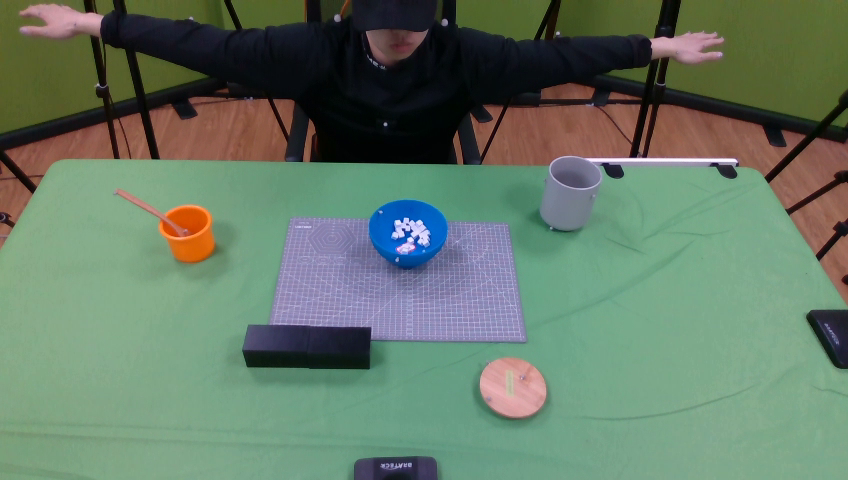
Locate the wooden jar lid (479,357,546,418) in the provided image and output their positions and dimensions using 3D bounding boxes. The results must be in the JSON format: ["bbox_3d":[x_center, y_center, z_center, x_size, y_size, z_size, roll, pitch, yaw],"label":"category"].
[{"bbox_3d":[0.142,0.240,0.979,0.108,0.021,0.107,1,46,-1],"label":"wooden jar lid"}]

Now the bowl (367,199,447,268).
[{"bbox_3d":[-0.033,0.000,1.152,0.151,0.077,0.150,2,46,-2],"label":"bowl"}]

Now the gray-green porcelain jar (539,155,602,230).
[{"bbox_3d":[0.294,-0.091,1.235,0.106,0.127,0.105,2,46,-2],"label":"gray-green porcelain jar"}]

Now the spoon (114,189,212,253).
[{"bbox_3d":[-0.475,-0.037,1.109,0.021,0.195,0.041,-29,34,31],"label":"spoon"}]
